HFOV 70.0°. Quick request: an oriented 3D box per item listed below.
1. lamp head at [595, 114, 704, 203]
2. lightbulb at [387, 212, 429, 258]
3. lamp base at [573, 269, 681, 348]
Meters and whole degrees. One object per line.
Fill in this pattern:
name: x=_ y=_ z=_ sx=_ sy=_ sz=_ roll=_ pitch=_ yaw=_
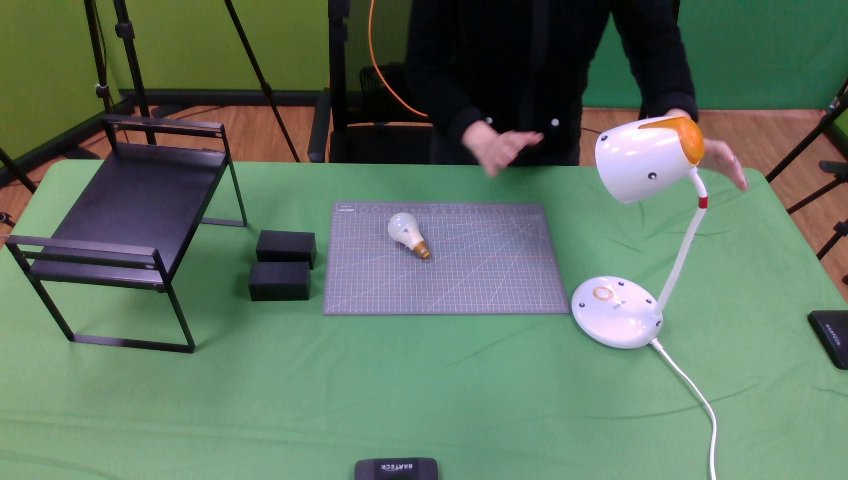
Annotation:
lamp head: x=0.316 y=-0.116 z=0.827 sx=0.122 sy=0.113 sz=0.112 roll=-15 pitch=28 yaw=45
lightbulb: x=-0.027 y=-0.007 z=1.180 sx=0.059 sy=0.060 sz=0.107 roll=-31 pitch=71 yaw=-29
lamp base: x=0.361 y=0.080 z=1.035 sx=0.160 sy=0.181 sz=0.178 roll=-34 pitch=59 yaw=-30
